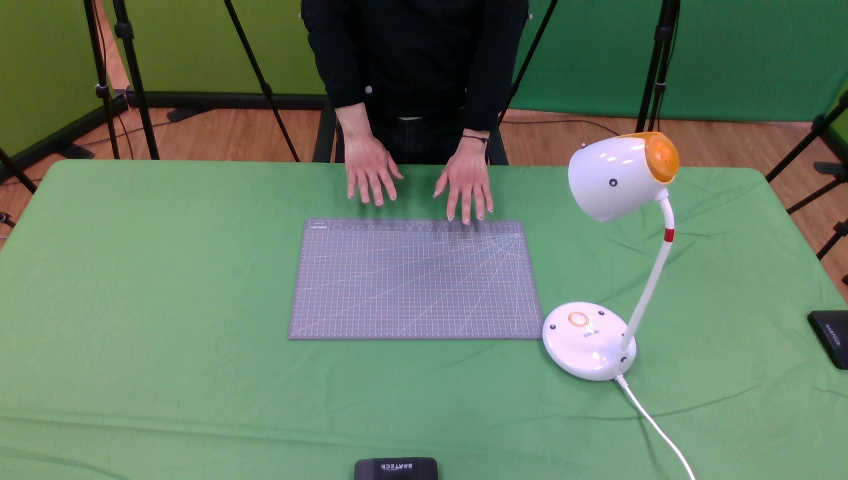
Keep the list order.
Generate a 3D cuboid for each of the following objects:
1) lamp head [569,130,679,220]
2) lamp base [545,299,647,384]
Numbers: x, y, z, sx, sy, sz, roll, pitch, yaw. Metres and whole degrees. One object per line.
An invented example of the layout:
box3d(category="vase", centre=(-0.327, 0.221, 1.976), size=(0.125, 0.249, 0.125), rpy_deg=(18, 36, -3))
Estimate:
box3d(category="lamp head", centre=(0.272, -0.090, 0.798), size=(0.113, 0.122, 0.112), rpy_deg=(7, 78, -33))
box3d(category="lamp base", centre=(0.299, 0.124, 0.984), size=(0.161, 0.181, 0.178), rpy_deg=(-23, 55, -23))
